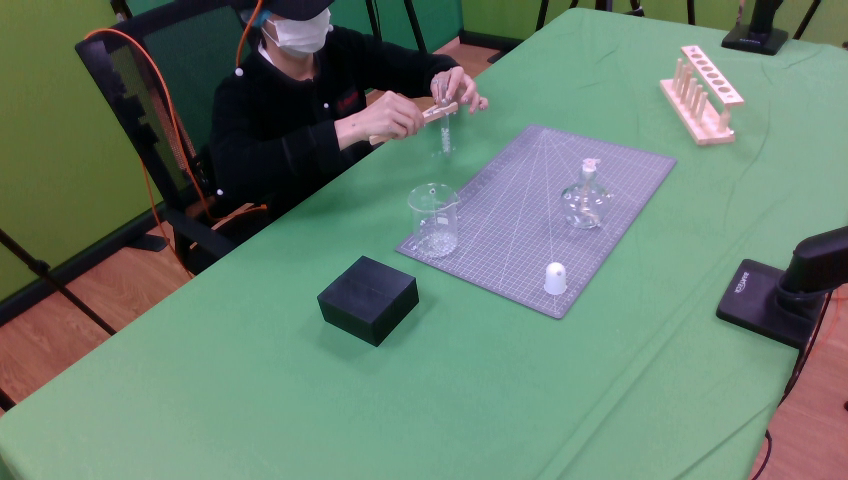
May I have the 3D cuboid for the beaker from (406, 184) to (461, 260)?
[{"bbox_3d":[0.019,-0.026,0.939,0.084,0.101,0.074,1,41,9],"label":"beaker"}]

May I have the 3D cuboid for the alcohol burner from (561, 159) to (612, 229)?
[{"bbox_3d":[0.257,-0.077,0.951,0.078,0.119,0.077,-3,40,3],"label":"alcohol burner"}]

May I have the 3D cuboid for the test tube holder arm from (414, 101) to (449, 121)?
[{"bbox_3d":[0.014,-0.218,1.047,0.010,0.015,0.088,21,45,33],"label":"test tube holder arm"}]

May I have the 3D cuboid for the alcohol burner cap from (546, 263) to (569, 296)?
[{"bbox_3d":[0.191,0.053,0.862,0.034,0.048,0.033,-5,40,4],"label":"alcohol burner cap"}]

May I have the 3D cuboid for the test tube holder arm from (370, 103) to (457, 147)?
[{"bbox_3d":[-0.015,-0.196,1.021,0.179,0.015,0.013,-29,41,-27],"label":"test tube holder arm"}]

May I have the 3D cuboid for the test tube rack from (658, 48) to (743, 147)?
[{"bbox_3d":[0.532,-0.284,1.181,0.067,0.085,0.241,-5,40,4],"label":"test tube rack"}]

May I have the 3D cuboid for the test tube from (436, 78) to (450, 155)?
[{"bbox_3d":[0.035,-0.214,1.066,0.017,0.151,0.017,-3,42,4],"label":"test tube"}]
